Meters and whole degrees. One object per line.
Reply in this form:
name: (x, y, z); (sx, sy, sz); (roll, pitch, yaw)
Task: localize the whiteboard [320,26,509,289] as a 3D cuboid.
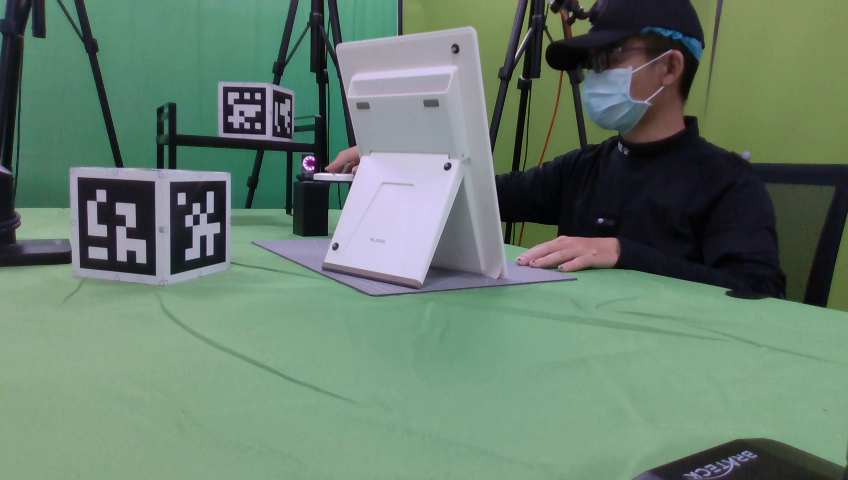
whiteboard: (-0.045, -0.076, 0.721); (0.216, 0.305, 0.144); (9, 29, 39)

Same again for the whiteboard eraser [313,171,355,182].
whiteboard eraser: (-0.166, -0.122, 1.165); (0.102, 0.019, 0.041); (-2, 7, -34)
